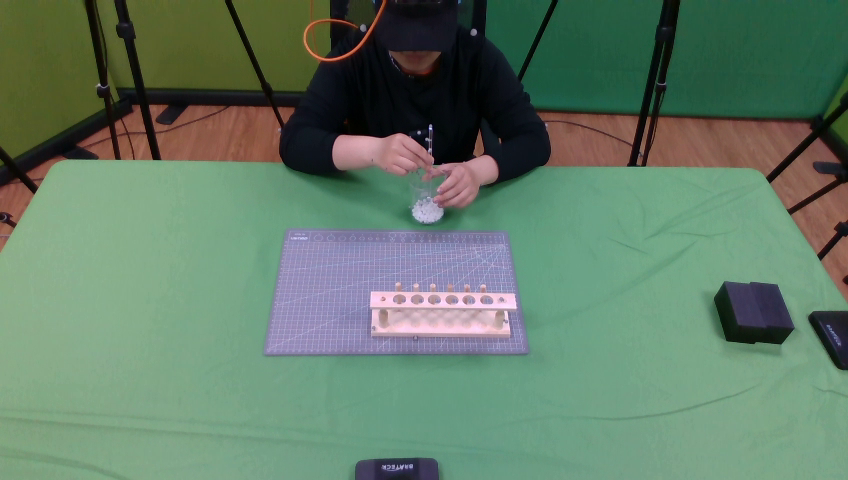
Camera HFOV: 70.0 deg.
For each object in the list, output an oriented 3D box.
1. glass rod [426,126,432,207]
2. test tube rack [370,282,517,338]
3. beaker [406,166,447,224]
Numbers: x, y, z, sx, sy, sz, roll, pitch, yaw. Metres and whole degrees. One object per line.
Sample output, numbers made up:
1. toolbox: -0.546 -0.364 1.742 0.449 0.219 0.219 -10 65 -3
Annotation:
1. glass rod: 0.009 -0.139 1.189 0.008 0.201 0.008 1 46 -1
2. test tube rack: 0.030 0.116 1.041 0.242 0.085 0.066 1 46 -3
3. beaker: 0.008 -0.088 1.220 0.084 0.101 0.073 -18 49 -15
